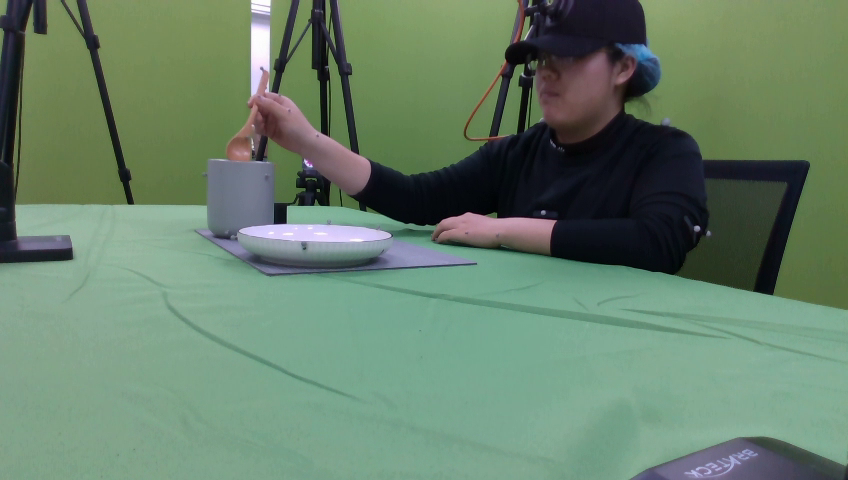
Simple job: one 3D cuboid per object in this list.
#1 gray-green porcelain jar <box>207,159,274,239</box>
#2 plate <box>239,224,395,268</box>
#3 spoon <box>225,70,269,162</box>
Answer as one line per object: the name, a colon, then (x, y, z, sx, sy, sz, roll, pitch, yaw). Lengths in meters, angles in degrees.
gray-green porcelain jar: (-0.304, -0.068, 1.003, 0.106, 0.126, 0.106, 3, 7, 0)
plate: (-0.144, 0.007, 0.823, 0.208, 0.039, 0.207, 3, 7, 0)
spoon: (-0.289, -0.207, 1.014, 0.042, 0.193, 0.021, 27, -24, -32)
